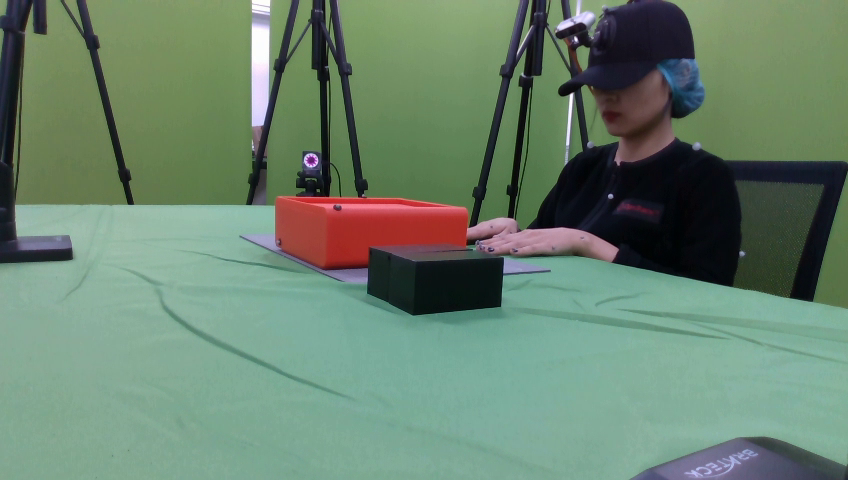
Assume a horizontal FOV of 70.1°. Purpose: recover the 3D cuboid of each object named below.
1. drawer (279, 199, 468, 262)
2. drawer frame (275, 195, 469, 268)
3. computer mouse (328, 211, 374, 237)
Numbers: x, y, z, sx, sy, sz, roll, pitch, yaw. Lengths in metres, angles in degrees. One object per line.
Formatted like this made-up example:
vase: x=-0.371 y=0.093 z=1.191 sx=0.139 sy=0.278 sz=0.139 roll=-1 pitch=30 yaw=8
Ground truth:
drawer: x=-0.076 y=-0.018 z=0.860 sx=0.213 sy=0.073 sz=0.193 roll=-3 pitch=9 yaw=-31
drawer frame: x=-0.078 y=-0.019 z=0.859 sx=0.215 sy=0.082 sz=0.200 roll=-3 pitch=9 yaw=-32
computer mouse: x=-0.132 y=-0.030 z=1.113 sx=0.063 sy=0.041 sz=0.117 roll=5 pitch=12 yaw=7
